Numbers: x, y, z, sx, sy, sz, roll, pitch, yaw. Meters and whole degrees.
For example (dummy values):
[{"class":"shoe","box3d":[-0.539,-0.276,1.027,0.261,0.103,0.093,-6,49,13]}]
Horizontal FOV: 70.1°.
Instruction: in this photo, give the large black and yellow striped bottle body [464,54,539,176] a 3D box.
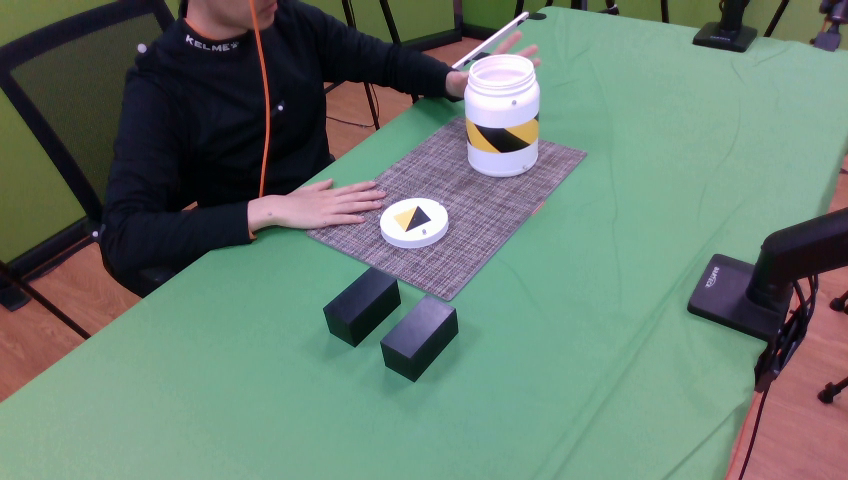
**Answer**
[{"class":"large black and yellow striped bottle body","box3d":[0.139,-0.221,1.075,0.131,0.185,0.130,-4,41,4]}]

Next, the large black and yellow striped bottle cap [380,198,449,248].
[{"class":"large black and yellow striped bottle cap","box3d":[-0.016,-0.030,1.004,0.115,0.019,0.114,-5,40,4]}]
